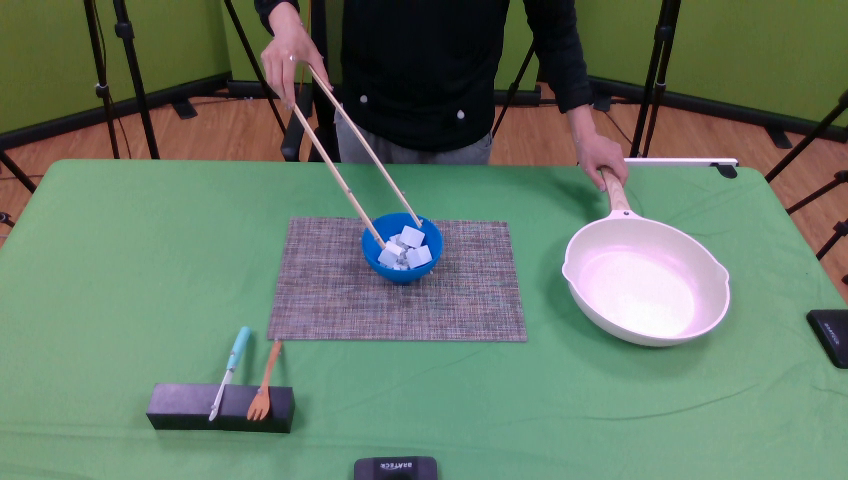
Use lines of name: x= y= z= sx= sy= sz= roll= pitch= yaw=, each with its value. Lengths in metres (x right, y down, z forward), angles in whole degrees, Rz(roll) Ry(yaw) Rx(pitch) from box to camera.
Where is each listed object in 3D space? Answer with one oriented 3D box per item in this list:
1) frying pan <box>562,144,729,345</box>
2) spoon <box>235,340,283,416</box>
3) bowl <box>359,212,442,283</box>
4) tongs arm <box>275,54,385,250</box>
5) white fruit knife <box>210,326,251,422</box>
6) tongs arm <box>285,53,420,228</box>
frying pan: x=0.397 y=-0.008 z=1.179 sx=0.307 sy=0.103 sz=0.485 roll=1 pitch=55 yaw=-4
spoon: x=-0.244 y=0.207 z=0.932 sx=0.042 sy=0.022 sz=0.193 roll=28 pitch=25 yaw=-8
bowl: x=-0.044 y=0.026 z=1.125 sx=0.151 sy=0.077 sz=0.150 roll=2 pitch=46 yaw=-2
tongs arm: x=-0.160 y=-0.155 z=1.060 sx=0.051 sy=0.026 sz=0.384 roll=-33 pitch=86 yaw=-14
white fruit knife: x=-0.300 y=0.201 z=0.941 sx=0.016 sy=0.027 sz=0.206 roll=-2 pitch=32 yaw=1
tongs arm: x=-0.123 y=-0.178 z=1.071 sx=0.028 sy=0.028 sz=0.387 roll=-35 pitch=87 yaw=-10
